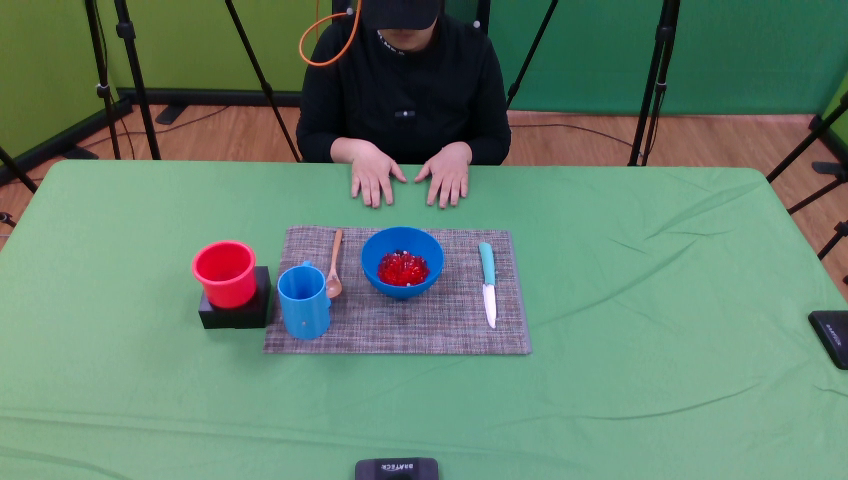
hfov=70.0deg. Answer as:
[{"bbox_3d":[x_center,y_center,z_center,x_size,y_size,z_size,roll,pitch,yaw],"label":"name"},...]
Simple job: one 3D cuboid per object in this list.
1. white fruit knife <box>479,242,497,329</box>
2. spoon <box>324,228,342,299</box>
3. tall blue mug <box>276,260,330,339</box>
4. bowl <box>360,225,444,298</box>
[{"bbox_3d":[0.122,0.080,1.130,0.027,0.016,0.206,-19,45,19],"label":"white fruit knife"},{"bbox_3d":[-0.168,0.041,1.140,0.041,0.022,0.192,-10,45,11],"label":"spoon"},{"bbox_3d":[-0.208,0.094,1.025,0.078,0.108,0.106,-21,51,-21],"label":"tall blue mug"},{"bbox_3d":[-0.040,0.053,1.099,0.151,0.077,0.150,2,46,-2],"label":"bowl"}]
